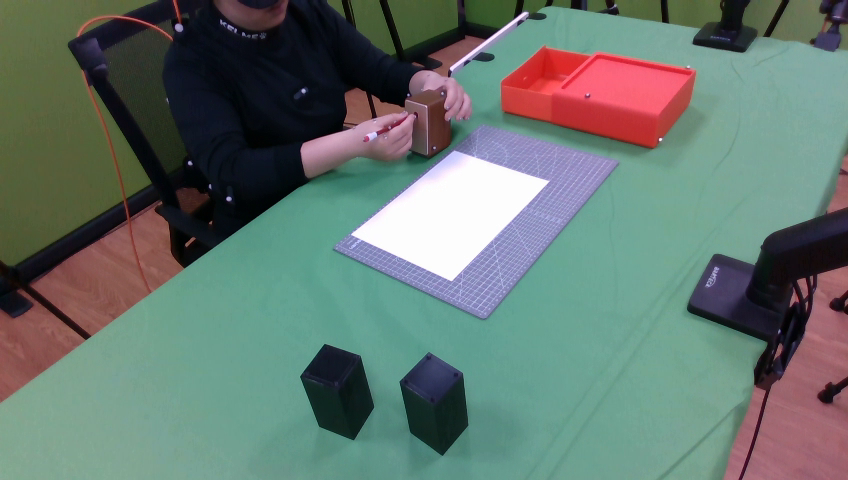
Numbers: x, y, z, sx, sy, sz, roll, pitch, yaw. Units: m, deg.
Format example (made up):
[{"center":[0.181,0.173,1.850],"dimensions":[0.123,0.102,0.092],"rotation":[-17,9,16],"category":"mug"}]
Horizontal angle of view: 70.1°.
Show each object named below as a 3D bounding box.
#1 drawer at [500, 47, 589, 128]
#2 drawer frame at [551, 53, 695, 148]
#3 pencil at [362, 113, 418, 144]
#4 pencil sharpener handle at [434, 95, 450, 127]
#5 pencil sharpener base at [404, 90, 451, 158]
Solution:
[{"center":[0.295,-0.316,1.255],"dimensions":[0.210,0.073,0.195],"rotation":[22,47,29],"category":"drawer"},{"center":[0.391,-0.281,1.196],"dimensions":[0.212,0.083,0.202],"rotation":[22,48,29],"category":"drawer frame"},{"center":[-0.044,-0.211,1.096],"dimensions":[0.012,0.012,0.195],"rotation":[23,41,32],"category":"pencil"},{"center":[0.041,-0.256,1.190],"dimensions":[0.035,0.068,0.031],"rotation":[28,43,29],"category":"pencil sharpener handle"},{"center":[0.009,-0.224,1.163],"dimensions":[0.061,0.107,0.077],"rotation":[23,40,33],"category":"pencil sharpener base"}]
